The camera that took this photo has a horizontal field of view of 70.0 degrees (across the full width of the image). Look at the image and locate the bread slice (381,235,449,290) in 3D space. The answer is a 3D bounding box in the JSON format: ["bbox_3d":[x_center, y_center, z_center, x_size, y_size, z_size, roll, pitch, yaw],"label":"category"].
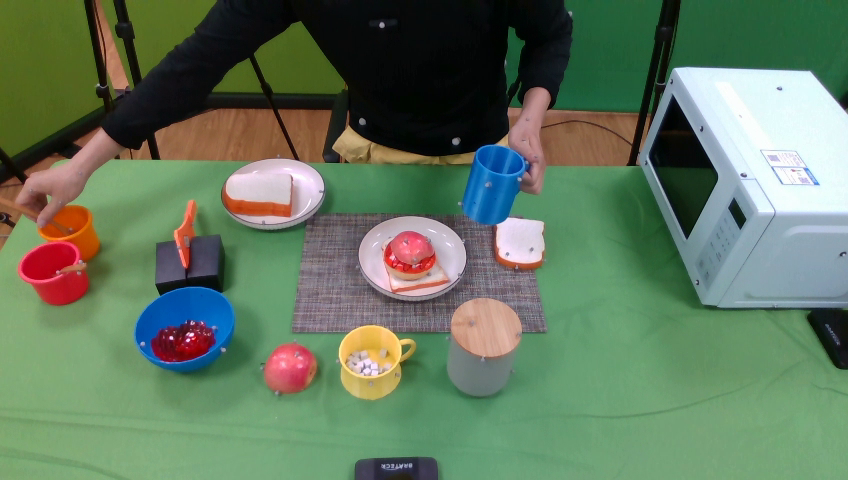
[{"bbox_3d":[-0.026,0.037,1.138,0.107,0.018,0.133,-12,45,-16],"label":"bread slice"}]

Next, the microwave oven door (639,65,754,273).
[{"bbox_3d":[0.522,-0.147,1.192,0.039,0.245,0.353,0,47,-3],"label":"microwave oven door"}]

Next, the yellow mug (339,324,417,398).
[{"bbox_3d":[-0.072,0.190,0.978,0.131,0.064,0.099,-17,51,-20],"label":"yellow mug"}]

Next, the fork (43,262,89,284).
[{"bbox_3d":[-0.599,0.053,1.013,0.207,0.019,0.028,-14,30,45],"label":"fork"}]

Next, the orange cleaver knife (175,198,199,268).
[{"bbox_3d":[-0.437,-0.017,1.138,0.012,0.077,0.210,-13,27,-6],"label":"orange cleaver knife"}]

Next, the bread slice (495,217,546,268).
[{"bbox_3d":[0.194,0.002,1.205,0.105,0.019,0.131,5,45,2],"label":"bread slice"}]

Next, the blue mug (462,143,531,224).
[{"bbox_3d":[0.126,-0.094,0.986,0.117,0.106,0.082,-17,51,-28],"label":"blue mug"}]

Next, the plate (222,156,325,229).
[{"bbox_3d":[-0.307,-0.095,1.251,0.209,0.038,0.208,2,47,-2],"label":"plate"}]

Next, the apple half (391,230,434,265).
[{"bbox_3d":[-0.021,0.004,1.085,0.081,0.033,0.081,7,44,-7],"label":"apple half"}]

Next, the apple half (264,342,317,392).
[{"bbox_3d":[-0.214,0.198,0.970,0.074,0.053,0.080,19,48,10],"label":"apple half"}]

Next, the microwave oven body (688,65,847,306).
[{"bbox_3d":[0.669,-0.111,1.176,0.326,0.261,0.439,0,46,-3],"label":"microwave oven body"}]

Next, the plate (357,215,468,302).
[{"bbox_3d":[-0.022,0.037,1.141,0.208,0.039,0.206,2,46,-2],"label":"plate"}]

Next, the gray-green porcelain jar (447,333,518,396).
[{"bbox_3d":[0.091,0.178,0.960,0.106,0.127,0.105,2,46,-2],"label":"gray-green porcelain jar"}]

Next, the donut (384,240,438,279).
[{"bbox_3d":[-0.025,0.029,1.109,0.099,0.048,0.098,2,46,-2],"label":"donut"}]

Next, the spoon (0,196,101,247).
[{"bbox_3d":[-0.664,-0.035,1.074,0.021,0.195,0.041,-31,53,12],"label":"spoon"}]

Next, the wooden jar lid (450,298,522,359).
[{"bbox_3d":[0.093,0.135,0.914,0.108,0.021,0.107,2,48,-3],"label":"wooden jar lid"}]

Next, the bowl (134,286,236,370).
[{"bbox_3d":[-0.377,0.155,0.981,0.151,0.077,0.150,2,46,-2],"label":"bowl"}]

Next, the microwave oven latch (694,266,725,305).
[{"bbox_3d":[0.523,0.082,1.115,0.030,0.029,0.078,3,46,0],"label":"microwave oven latch"}]
